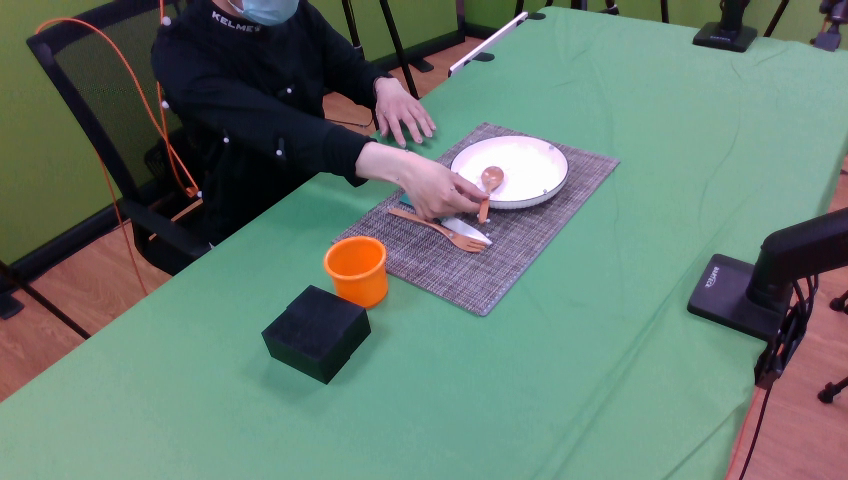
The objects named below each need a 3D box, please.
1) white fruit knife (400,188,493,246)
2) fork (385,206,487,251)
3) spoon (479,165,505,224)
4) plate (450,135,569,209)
[{"bbox_3d":[0.037,-0.039,1.009,0.205,0.016,0.027,33,84,34],"label":"white fruit knife"},{"bbox_3d":[0.015,-0.021,0.987,0.206,0.019,0.028,25,60,30],"label":"fork"},{"bbox_3d":[0.106,-0.079,1.005,0.041,0.022,0.193,4,29,11],"label":"spoon"},{"bbox_3d":[0.149,-0.117,1.066,0.209,0.038,0.208,-4,41,4],"label":"plate"}]
